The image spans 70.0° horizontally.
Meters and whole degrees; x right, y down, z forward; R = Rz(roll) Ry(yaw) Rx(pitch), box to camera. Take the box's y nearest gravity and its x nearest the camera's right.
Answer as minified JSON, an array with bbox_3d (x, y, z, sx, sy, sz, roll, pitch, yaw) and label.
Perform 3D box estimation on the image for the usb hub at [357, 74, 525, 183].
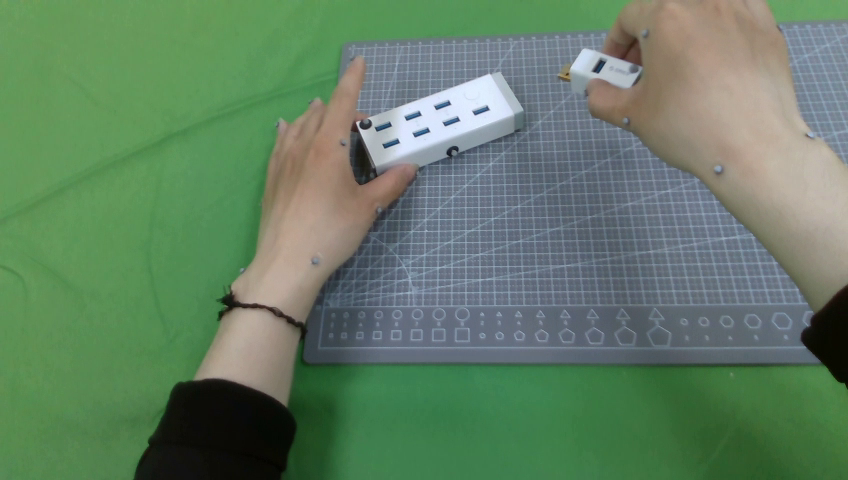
[{"bbox_3d":[0.013,-0.090,0.480,0.125,0.025,0.049,-20,61,-6],"label":"usb hub"}]

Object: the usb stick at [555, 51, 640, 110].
[{"bbox_3d":[0.117,-0.112,0.417,0.058,0.027,0.021,25,76,32],"label":"usb stick"}]
